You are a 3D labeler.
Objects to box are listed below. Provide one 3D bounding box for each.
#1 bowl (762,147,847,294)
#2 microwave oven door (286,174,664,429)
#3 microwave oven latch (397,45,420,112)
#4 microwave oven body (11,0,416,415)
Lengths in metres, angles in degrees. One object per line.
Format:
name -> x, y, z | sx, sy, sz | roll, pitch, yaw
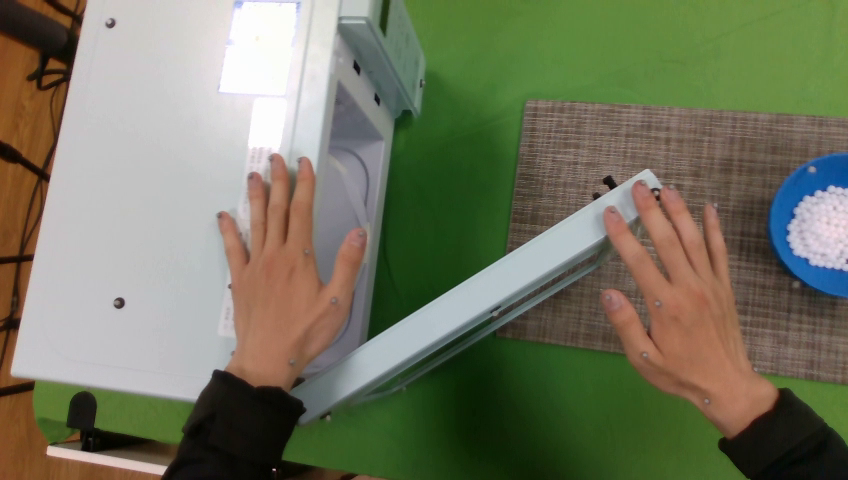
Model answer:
bowl -> 0.431, -0.014, 0.644 | 0.151, 0.077, 0.151 | -2, 81, 11
microwave oven door -> 0.058, 0.069, 0.603 | 0.356, 0.245, 0.039 | -33, 75, 4
microwave oven latch -> -0.022, -0.204, 0.766 | 0.030, 0.029, 0.079 | 4, 83, 11
microwave oven body -> -0.204, -0.057, 0.677 | 0.325, 0.261, 0.440 | 4, 82, 11
